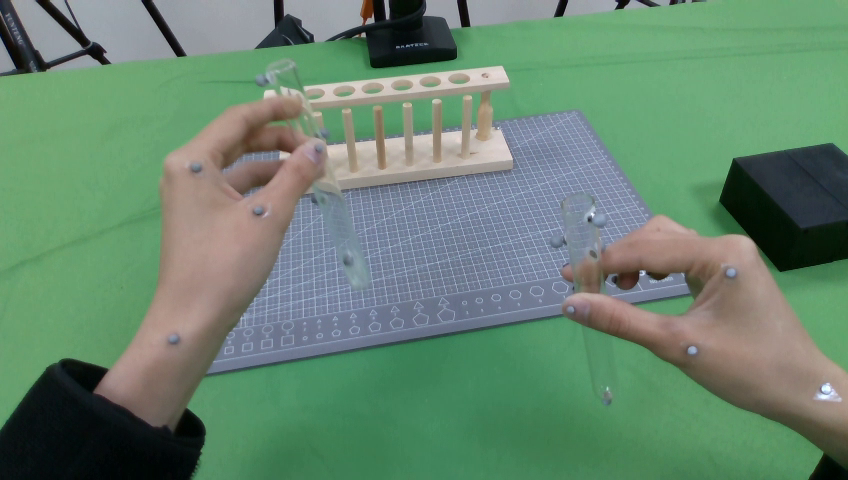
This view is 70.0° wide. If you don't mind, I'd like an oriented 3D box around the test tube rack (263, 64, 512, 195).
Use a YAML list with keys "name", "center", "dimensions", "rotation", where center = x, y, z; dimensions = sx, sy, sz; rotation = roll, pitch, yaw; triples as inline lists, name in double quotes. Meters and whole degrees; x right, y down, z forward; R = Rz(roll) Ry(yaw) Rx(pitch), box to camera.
- name: "test tube rack"
  center: [-0.034, -0.113, 0.620]
  dimensions: [0.242, 0.086, 0.066]
  rotation: [-7, 43, -4]

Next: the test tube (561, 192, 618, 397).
- name: "test tube"
  center: [0.089, 0.036, 0.319]
  dimensions: [0.017, 0.152, 0.017]
  rotation: [-12, 40, 11]

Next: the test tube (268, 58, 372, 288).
- name: "test tube"
  center: [-0.057, -0.031, 0.352]
  dimensions: [0.017, 0.152, 0.017]
  rotation: [-11, 34, 8]
